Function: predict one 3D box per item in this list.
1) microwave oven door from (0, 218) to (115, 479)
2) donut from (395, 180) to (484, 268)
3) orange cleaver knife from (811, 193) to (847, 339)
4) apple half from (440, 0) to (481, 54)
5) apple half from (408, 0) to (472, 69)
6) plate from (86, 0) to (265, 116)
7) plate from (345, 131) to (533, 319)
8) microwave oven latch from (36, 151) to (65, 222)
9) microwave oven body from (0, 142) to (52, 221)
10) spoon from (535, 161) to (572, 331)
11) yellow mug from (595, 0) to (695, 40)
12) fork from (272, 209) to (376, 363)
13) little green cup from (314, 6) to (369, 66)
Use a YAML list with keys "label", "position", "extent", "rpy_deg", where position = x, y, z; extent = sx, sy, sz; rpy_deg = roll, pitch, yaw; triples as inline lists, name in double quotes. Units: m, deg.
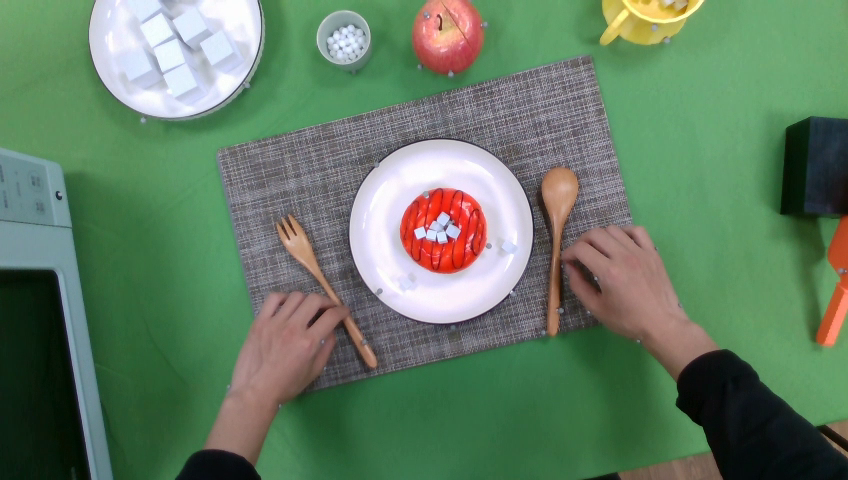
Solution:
- label: "microwave oven door"
  position: [-0.406, 0.152, 0.588]
  extent: [0.039, 0.244, 0.355]
  rpy_deg: [-11, 88, 3]
- label: "donut"
  position: [0.018, -0.017, 0.671]
  extent: [0.099, 0.048, 0.099]
  rpy_deg: [0, 91, 5]
- label: "orange cleaver knife"
  position: [0.442, 0.006, 0.633]
  extent: [0.012, 0.076, 0.213]
  rpy_deg: [6, 121, 6]
- label: "apple half"
  position: [0.043, -0.246, 0.671]
  extent: [0.033, 0.081, 0.081]
  rpy_deg: [-34, 86, 6]
- label: "apple half"
  position: [0.011, -0.224, 0.674]
  extent: [0.053, 0.074, 0.081]
  rpy_deg: [-34, 90, 7]
- label: "plate"
  position: [-0.286, -0.245, 0.710]
  extent: [0.207, 0.039, 0.207]
  rpy_deg: [0, 89, 4]
- label: "plate"
  position: [0.016, -0.016, 0.682]
  extent: [0.209, 0.038, 0.209]
  rpy_deg: [0, 89, 4]
- label: "microwave oven latch"
  position: [-0.437, -0.060, 0.697]
  extent: [0.030, 0.029, 0.079]
  rpy_deg: [-8, 89, 3]
- label: "microwave oven body"
  position: [-0.556, 0.138, 0.603]
  extent: [0.326, 0.260, 0.441]
  rpy_deg: [-11, 88, 3]
- label: "spoon"
  position: [0.146, 0.005, 0.686]
  extent: [0.041, 0.022, 0.193]
  rpy_deg: [1, 88, 6]
- label: "yellow mug"
  position: [0.236, -0.270, 0.664]
  extent: [0.100, 0.064, 0.131]
  rpy_deg: [45, 93, 3]
- label: "fork"
  position: [-0.114, 0.053, 0.698]
  extent: [0.028, 0.018, 0.207]
  rpy_deg: [-34, 88, 2]
- label: "little green cup"
  position: [-0.092, -0.231, 0.697]
  extent: [0.061, 0.038, 0.061]
  rpy_deg: [0, 88, 4]
